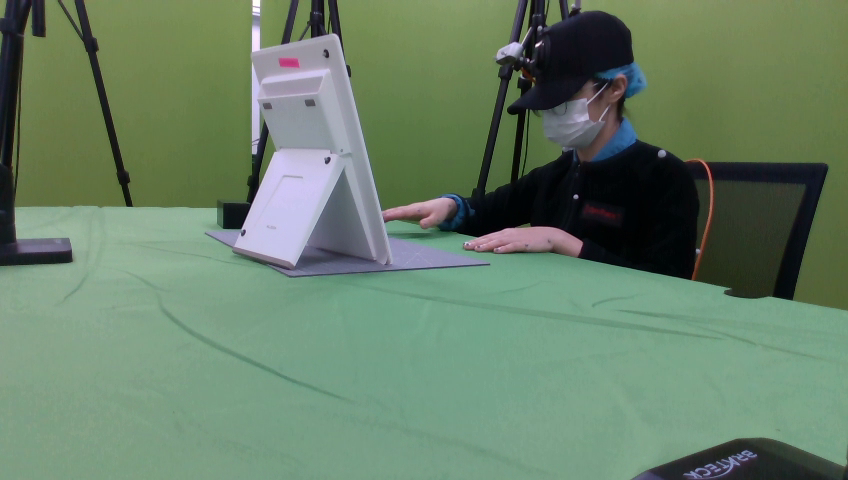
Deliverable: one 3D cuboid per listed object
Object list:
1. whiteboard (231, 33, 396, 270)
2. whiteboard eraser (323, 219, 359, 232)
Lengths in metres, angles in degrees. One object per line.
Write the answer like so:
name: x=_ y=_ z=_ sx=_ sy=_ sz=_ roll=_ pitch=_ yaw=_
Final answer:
whiteboard: x=-0.193 y=-0.094 z=0.805 sx=0.144 sy=0.305 sz=0.216 roll=-29 pitch=25 yaw=-35
whiteboard eraser: x=-0.162 y=-0.030 z=1.195 sx=0.041 sy=0.019 sz=0.101 roll=5 pitch=9 yaw=21
